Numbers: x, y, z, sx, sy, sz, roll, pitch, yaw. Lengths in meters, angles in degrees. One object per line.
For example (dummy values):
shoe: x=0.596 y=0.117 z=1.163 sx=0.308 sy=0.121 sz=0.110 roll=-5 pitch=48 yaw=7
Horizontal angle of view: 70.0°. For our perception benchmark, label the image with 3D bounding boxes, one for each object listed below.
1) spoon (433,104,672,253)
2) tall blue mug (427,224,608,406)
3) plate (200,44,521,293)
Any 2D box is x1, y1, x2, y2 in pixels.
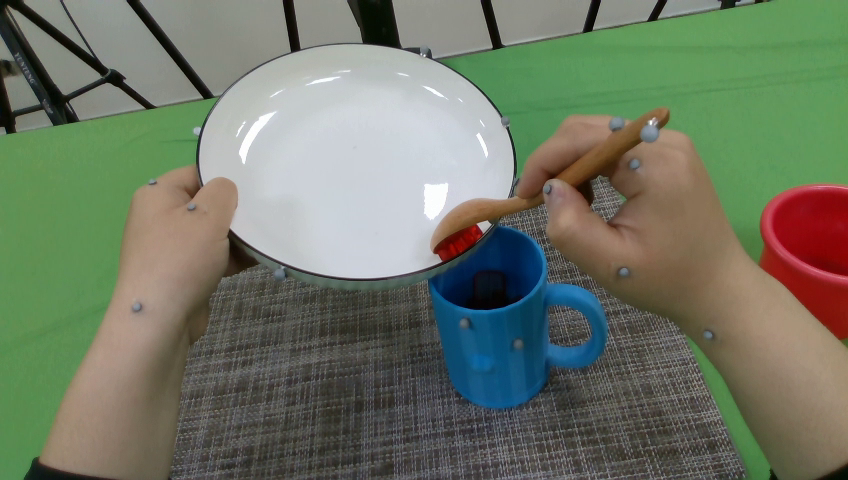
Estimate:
spoon: x=0.052 y=-0.023 z=0.302 sx=0.041 sy=0.022 sz=0.193 roll=-37 pitch=6 yaw=-27
tall blue mug: x=0.062 y=0.050 z=0.416 sx=0.107 sy=0.109 sz=0.077 roll=-14 pitch=43 yaw=-1
plate: x=-0.040 y=-0.051 z=0.411 sx=0.208 sy=0.039 sz=0.205 roll=3 pitch=56 yaw=-4
